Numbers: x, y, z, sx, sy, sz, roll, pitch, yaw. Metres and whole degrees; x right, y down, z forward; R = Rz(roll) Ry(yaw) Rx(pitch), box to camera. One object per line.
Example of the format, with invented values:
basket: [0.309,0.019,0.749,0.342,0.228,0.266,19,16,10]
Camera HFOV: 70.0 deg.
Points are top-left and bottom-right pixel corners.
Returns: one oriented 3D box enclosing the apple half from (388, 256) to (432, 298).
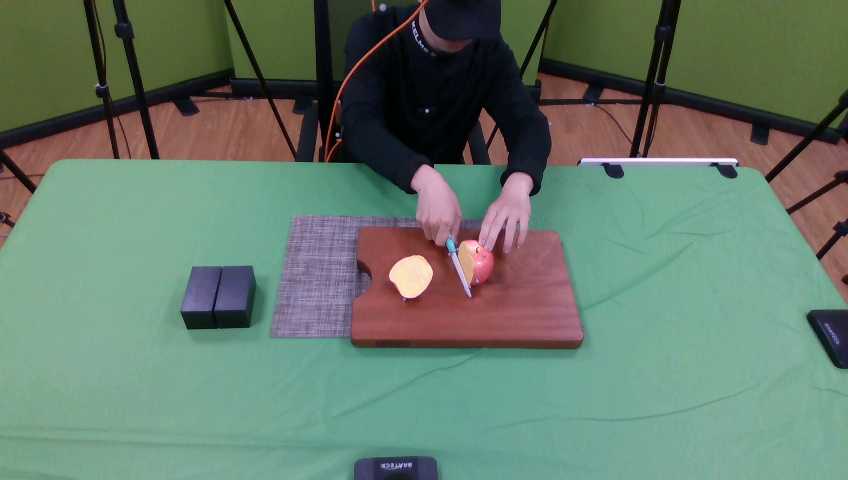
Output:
apple half: [-0.019,0.069,1.080,0.081,0.033,0.081,-6,62,12]

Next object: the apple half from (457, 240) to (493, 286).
apple half: [0.096,0.042,1.094,0.053,0.075,0.080,-5,43,-18]

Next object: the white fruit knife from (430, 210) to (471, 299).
white fruit knife: [0.051,0.021,1.128,0.016,0.027,0.206,-9,57,-20]
